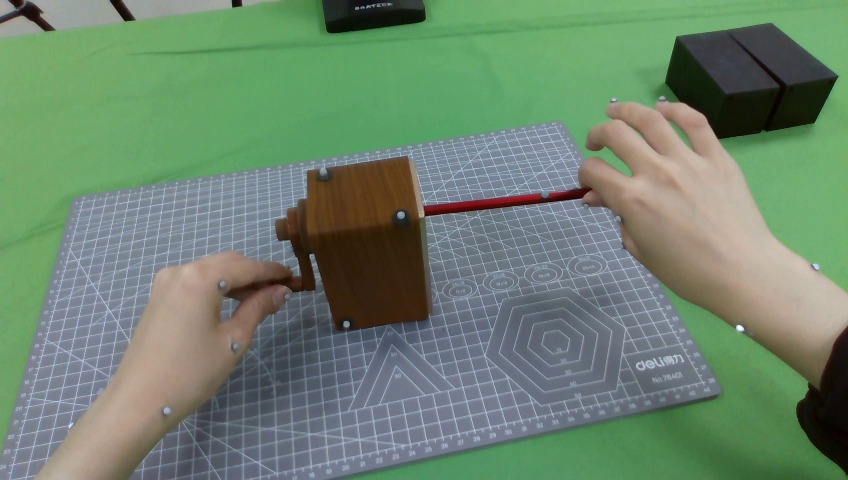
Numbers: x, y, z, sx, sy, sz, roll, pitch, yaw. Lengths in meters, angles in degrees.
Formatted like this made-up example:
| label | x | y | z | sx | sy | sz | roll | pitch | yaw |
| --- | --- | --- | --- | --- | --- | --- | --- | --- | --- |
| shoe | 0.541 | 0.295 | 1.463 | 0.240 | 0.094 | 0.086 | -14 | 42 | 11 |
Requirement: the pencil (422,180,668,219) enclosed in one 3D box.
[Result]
| label | x | y | z | sx | sy | sz | roll | pitch | yaw |
| --- | --- | --- | --- | --- | --- | --- | --- | --- | --- |
| pencil | 0.068 | -0.025 | 0.399 | 0.194 | 0.012 | 0.012 | -7 | 47 | -6 |

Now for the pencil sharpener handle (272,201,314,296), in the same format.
| label | x | y | z | sx | sy | sz | roll | pitch | yaw |
| --- | --- | --- | --- | --- | --- | --- | --- | --- | --- |
| pencil sharpener handle | -0.089 | 0.008 | 0.393 | 0.031 | 0.068 | 0.035 | -8 | 34 | -3 |

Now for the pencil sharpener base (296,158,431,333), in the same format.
| label | x | y | z | sx | sy | sz | roll | pitch | yaw |
| --- | --- | --- | --- | --- | --- | --- | --- | --- | --- |
| pencil sharpener base | -0.038 | 0.007 | 0.408 | 0.077 | 0.108 | 0.060 | -8 | 48 | -3 |
